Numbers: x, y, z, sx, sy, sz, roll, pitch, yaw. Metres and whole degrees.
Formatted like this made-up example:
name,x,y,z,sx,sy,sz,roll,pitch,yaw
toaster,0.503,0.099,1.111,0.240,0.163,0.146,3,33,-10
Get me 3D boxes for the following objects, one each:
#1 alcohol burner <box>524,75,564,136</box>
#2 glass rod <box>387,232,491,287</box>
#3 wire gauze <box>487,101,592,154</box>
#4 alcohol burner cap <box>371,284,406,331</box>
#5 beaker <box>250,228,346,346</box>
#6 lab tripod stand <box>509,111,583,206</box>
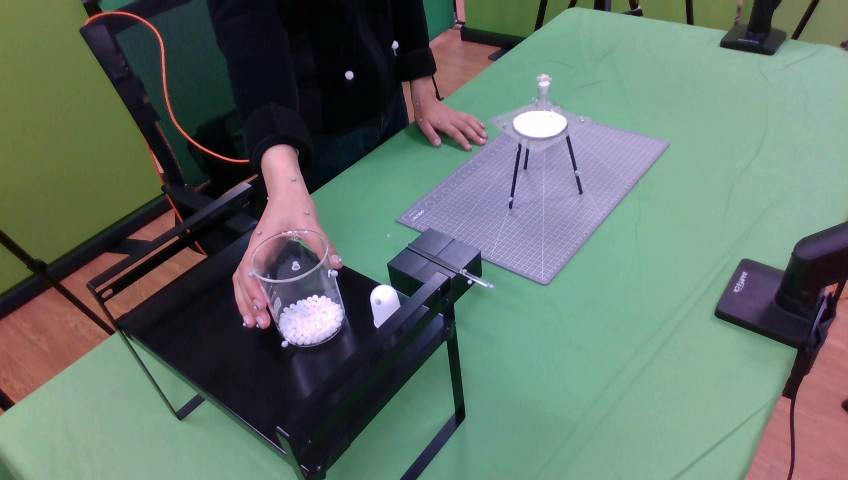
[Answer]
name,x,y,z,sx,sy,sz,roll,pitch,yaw
alcohol burner,0.232,-0.263,1.175,0.078,0.119,0.077,-6,39,5
glass rod,0.017,0.027,0.877,0.198,0.008,0.008,27,51,34
wire gauze,0.185,-0.188,0.974,0.122,0.011,0.124,-27,44,-23
alcohol burner cap,-0.037,0.066,0.608,0.034,0.048,0.033,-4,42,4
beaker,-0.120,0.048,0.598,0.074,0.101,0.083,-9,40,-1
lab tripod stand,0.197,-0.139,1.020,0.148,0.132,0.147,-3,39,3
